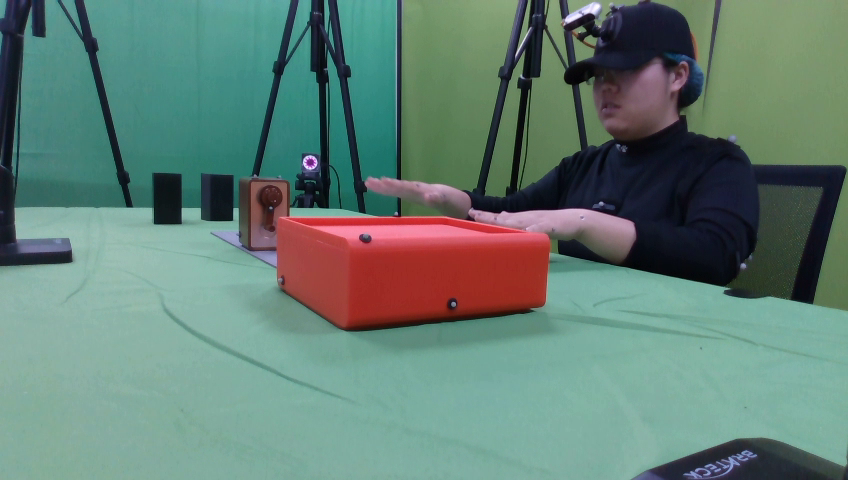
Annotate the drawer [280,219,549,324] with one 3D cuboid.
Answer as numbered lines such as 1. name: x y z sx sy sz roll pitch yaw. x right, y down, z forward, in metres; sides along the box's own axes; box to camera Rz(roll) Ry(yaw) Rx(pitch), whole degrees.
1. drawer: -0.016 0.024 0.612 0.213 0.073 0.193 -2 9 -30

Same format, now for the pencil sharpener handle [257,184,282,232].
1. pencil sharpener handle: -0.219 -0.046 0.865 0.036 0.067 0.030 6 5 -29

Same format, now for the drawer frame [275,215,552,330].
1. drawer frame: -0.017 0.022 0.610 0.215 0.082 0.200 -2 9 -31

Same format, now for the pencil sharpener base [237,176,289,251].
1. pencil sharpener base: -0.243 -0.040 0.912 0.061 0.107 0.076 -1 8 -29

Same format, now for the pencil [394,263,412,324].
1. pencil: -0.021 0.052 0.614 0.012 0.012 0.194 3 12 0
